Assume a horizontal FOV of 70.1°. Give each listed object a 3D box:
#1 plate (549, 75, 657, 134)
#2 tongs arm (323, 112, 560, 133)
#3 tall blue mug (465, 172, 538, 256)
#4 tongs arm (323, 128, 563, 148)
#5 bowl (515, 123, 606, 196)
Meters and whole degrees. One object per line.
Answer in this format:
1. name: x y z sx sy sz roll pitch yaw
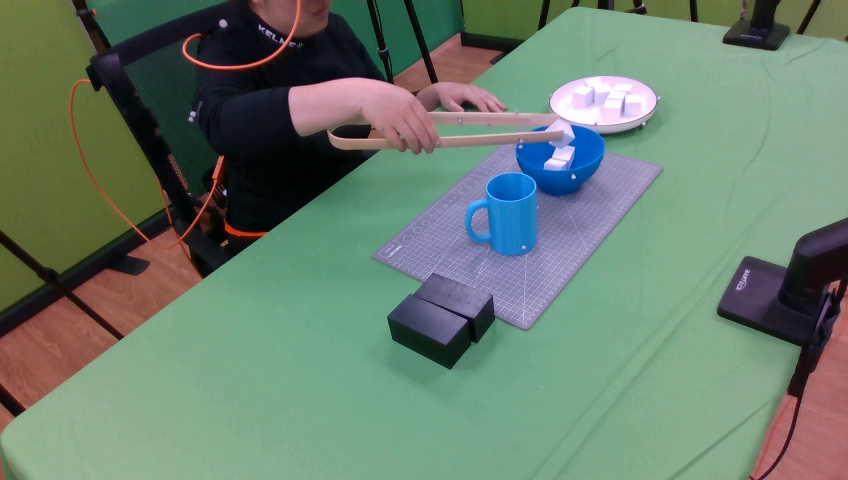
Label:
1. plate: 0.357 -0.269 1.220 0.209 0.038 0.208 -5 41 5
2. tongs arm: 0.030 -0.187 0.996 0.385 0.026 0.050 3 58 4
3. tall blue mug: 0.125 -0.033 0.925 0.107 0.108 0.077 -32 46 -25
4. tongs arm: 0.030 -0.167 0.983 0.388 0.028 0.028 0 61 1
5. bowl: 0.234 -0.130 1.044 0.151 0.077 0.150 -5 40 5
